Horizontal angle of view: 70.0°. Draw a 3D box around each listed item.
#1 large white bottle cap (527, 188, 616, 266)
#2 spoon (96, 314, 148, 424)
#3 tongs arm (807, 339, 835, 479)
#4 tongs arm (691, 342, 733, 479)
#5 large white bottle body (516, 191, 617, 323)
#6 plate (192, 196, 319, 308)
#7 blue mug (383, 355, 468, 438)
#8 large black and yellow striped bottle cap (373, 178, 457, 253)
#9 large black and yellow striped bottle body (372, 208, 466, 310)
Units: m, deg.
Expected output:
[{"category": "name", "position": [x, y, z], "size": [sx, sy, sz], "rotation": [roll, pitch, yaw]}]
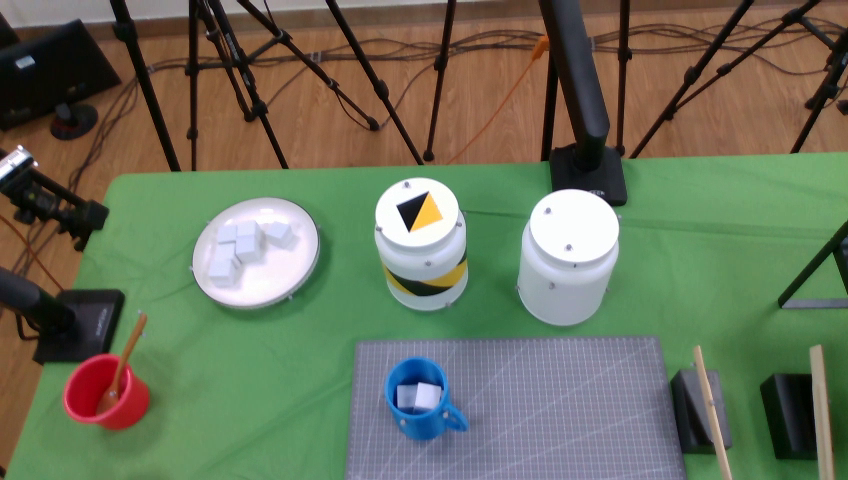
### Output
[{"category": "large white bottle cap", "position": [0.194, -0.019, 0.795], "size": [0.115, 0.018, 0.114], "rotation": [-2, 58, 4]}, {"category": "spoon", "position": [-0.425, 0.183, 0.854], "size": [0.041, 0.022, 0.194], "rotation": [40, 114, 28]}, {"category": "tongs arm", "position": [0.470, 0.309, 0.718], "size": [0.028, 0.028, 0.385], "rotation": [9, 71, 1]}, {"category": "tongs arm", "position": [0.388, 0.311, 0.723], "size": [0.051, 0.027, 0.382], "rotation": [-5, 70, 0]}, {"category": "large white bottle body", "position": [0.201, 0.026, 0.867], "size": [0.130, 0.186, 0.129], "rotation": [-2, 58, 4]}, {"category": "plate", "position": [-0.274, 0.022, 1.001], "size": [0.207, 0.039, 0.205], "rotation": [-2, 59, 4]}, {"category": "blue mug", "position": [0.007, 0.219, 0.812], "size": [0.116, 0.107, 0.082], "rotation": [25, 64, 19]}, {"category": "large black and yellow striped bottle cap", "position": [-0.012, -0.035, 0.826], "size": [0.115, 0.019, 0.114], "rotation": [-2, 60, 3]}, {"category": "large black and yellow striped bottle body", "position": [-0.005, 0.010, 0.897], "size": [0.131, 0.185, 0.129], "rotation": [-2, 58, 4]}]
